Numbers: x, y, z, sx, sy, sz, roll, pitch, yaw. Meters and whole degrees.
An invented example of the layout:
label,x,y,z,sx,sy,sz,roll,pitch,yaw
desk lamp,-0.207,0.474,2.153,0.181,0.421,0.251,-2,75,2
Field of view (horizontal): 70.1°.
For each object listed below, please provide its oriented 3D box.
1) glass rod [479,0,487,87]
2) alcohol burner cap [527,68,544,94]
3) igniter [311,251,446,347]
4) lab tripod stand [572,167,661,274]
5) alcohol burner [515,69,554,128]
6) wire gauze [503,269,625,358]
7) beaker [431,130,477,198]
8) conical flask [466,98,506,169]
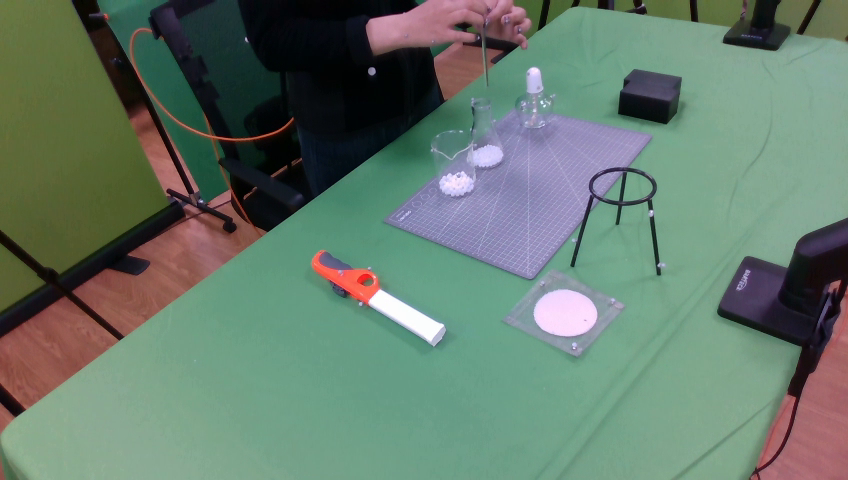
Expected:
label,x,y,z,sx,sy,sz,roll,pitch,yaw
glass rod,0.099,-0.354,1.015,0.008,0.200,0.008,-5,36,4
alcohol burner cap,0.216,-0.312,1.179,0.034,0.048,0.033,-10,40,9
igniter,-0.078,0.081,0.899,0.274,0.025,0.057,27,62,35
lab tripod stand,0.283,-0.030,0.879,0.148,0.132,0.147,-7,38,6
alcohol burner,0.221,-0.285,1.203,0.078,0.119,0.077,-4,39,4
wire gauze,0.194,0.100,0.840,0.120,0.011,0.125,27,54,36
beaker,0.055,-0.130,1.064,0.074,0.101,0.083,-4,41,8
conical flask,0.111,-0.199,1.116,0.075,0.122,0.075,-5,40,5
